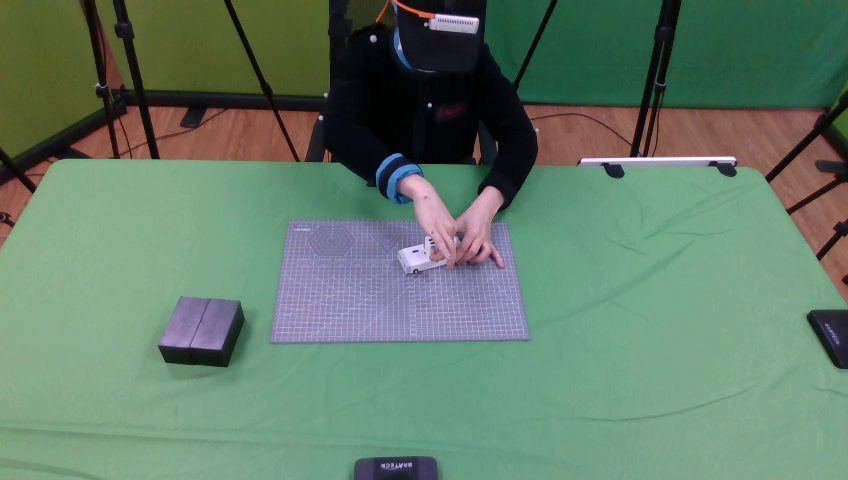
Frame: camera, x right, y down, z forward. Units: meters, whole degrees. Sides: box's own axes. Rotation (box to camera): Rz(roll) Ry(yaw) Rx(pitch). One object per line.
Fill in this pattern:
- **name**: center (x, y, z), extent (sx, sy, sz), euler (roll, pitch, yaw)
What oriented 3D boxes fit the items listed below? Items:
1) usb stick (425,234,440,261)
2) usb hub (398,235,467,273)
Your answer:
- **usb stick**: center (0.015, 0.018, 1.131), extent (0.021, 0.059, 0.027), euler (-18, 53, -14)
- **usb hub**: center (0.016, 0.027, 1.165), extent (0.125, 0.025, 0.049), euler (-14, 49, -17)
